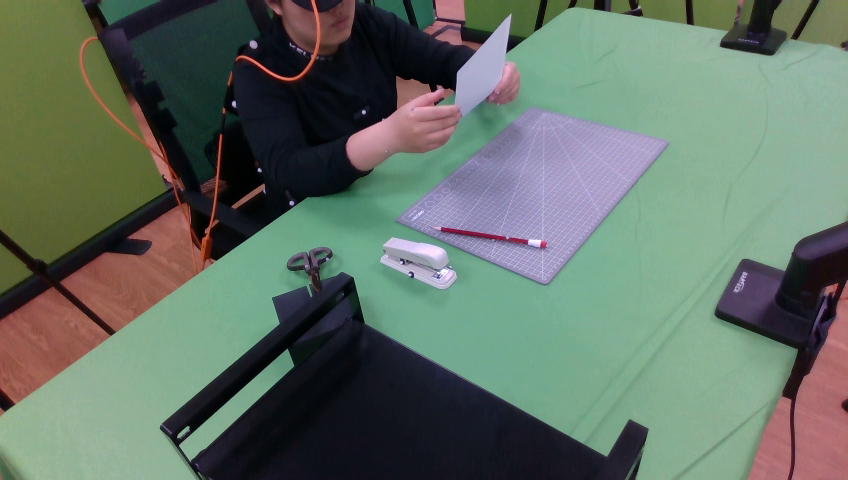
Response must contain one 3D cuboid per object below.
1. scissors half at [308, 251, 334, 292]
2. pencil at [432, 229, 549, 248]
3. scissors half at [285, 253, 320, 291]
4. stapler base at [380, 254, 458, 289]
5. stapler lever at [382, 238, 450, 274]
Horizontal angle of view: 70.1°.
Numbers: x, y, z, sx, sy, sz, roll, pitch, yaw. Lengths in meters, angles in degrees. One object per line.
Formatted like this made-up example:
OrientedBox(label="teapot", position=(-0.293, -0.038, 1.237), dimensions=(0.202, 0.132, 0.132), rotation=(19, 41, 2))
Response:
OrientedBox(label="scissors half", position=(-0.159, 0.046, 0.913), dimensions=(0.040, 0.013, 0.174), rotation=(-4, 17, -5))
OrientedBox(label="pencil", position=(0.103, -0.005, 0.970), dimensions=(0.193, 0.012, 0.012), rotation=(8, 42, 18))
OrientedBox(label="scissors half", position=(-0.178, 0.049, 0.909), dimensions=(0.040, 0.013, 0.174), rotation=(-15, 19, -20))
OrientedBox(label="stapler base", position=(-0.009, 0.037, 0.934), dimensions=(0.129, 0.024, 0.041), rotation=(20, 44, 31))
OrientedBox(label="stapler lever", position=(-0.014, 0.018, 0.919), dimensions=(0.117, 0.040, 0.027), rotation=(21, 45, 30))
